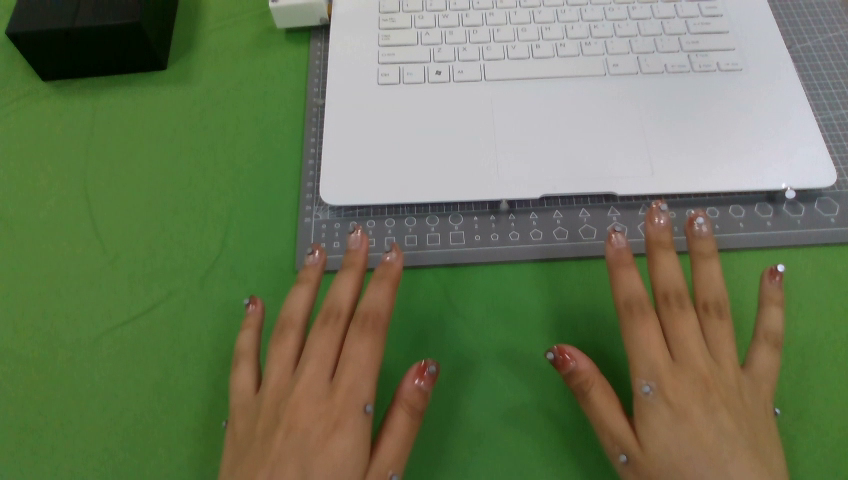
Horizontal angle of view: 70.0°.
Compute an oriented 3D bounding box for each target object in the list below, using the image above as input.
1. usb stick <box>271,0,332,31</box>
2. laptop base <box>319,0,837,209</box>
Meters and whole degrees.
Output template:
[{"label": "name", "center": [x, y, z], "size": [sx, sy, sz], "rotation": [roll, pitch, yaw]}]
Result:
[{"label": "usb stick", "center": [-0.093, -0.189, 0.495], "size": [0.059, 0.027, 0.021], "rotation": [-4, 59, 1]}, {"label": "laptop base", "center": [0.102, -0.127, 0.467], "size": [0.354, 0.023, 0.233], "rotation": [-2, 64, 1]}]
